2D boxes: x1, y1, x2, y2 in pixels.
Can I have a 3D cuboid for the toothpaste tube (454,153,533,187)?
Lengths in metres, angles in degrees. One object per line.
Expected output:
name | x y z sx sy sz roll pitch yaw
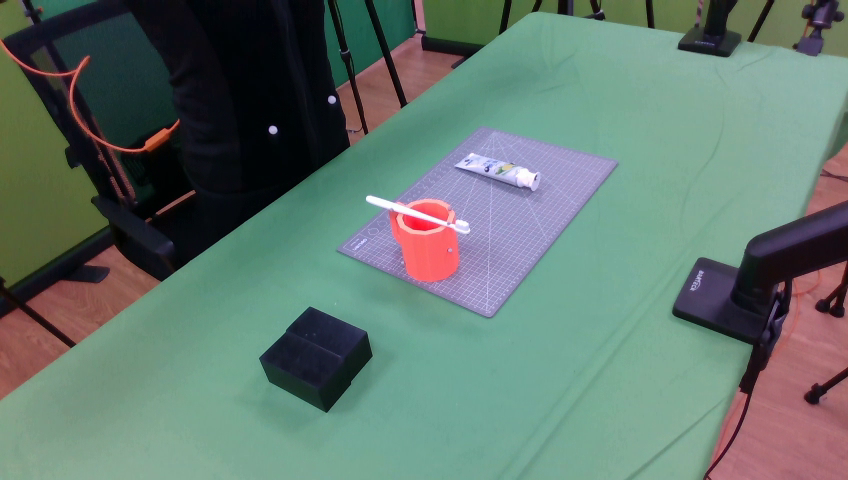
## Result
toothpaste tube | 0.134 -0.130 1.104 0.163 0.034 0.055 24 44 37

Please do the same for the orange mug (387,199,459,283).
orange mug | -0.006 -0.007 0.922 0.125 0.101 0.084 32 54 32

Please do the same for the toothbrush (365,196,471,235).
toothbrush | -0.013 -0.039 0.880 0.180 0.017 0.014 18 50 27

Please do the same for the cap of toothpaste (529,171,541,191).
cap of toothpaste | 0.193 -0.103 1.054 0.011 0.037 0.037 19 47 25
